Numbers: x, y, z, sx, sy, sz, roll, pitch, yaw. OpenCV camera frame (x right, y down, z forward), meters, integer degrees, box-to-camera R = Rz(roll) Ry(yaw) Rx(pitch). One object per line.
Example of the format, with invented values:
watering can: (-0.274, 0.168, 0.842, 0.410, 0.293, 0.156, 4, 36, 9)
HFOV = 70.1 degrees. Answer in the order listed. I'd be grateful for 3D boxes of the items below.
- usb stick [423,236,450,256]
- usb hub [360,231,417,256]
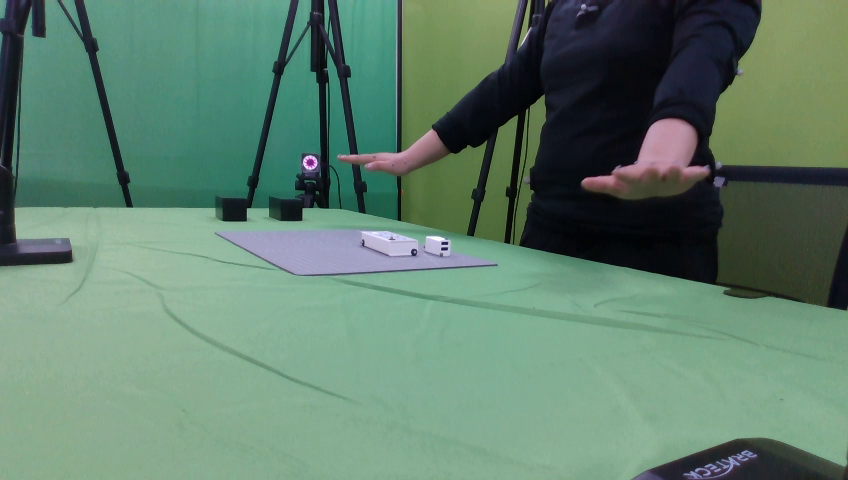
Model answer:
usb stick: (0.017, 0.009, 0.937, 0.021, 0.027, 0.059, -1, 5, -29)
usb hub: (-0.059, 0.004, 0.951, 0.050, 0.025, 0.124, -2, 8, -26)
